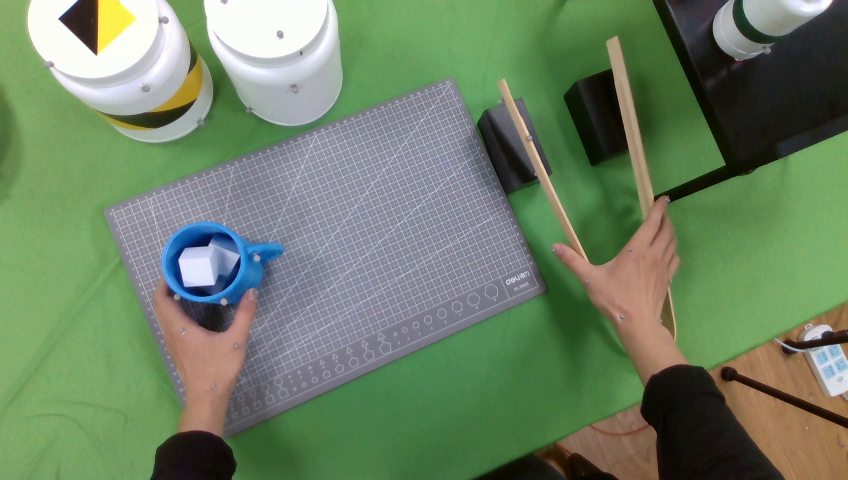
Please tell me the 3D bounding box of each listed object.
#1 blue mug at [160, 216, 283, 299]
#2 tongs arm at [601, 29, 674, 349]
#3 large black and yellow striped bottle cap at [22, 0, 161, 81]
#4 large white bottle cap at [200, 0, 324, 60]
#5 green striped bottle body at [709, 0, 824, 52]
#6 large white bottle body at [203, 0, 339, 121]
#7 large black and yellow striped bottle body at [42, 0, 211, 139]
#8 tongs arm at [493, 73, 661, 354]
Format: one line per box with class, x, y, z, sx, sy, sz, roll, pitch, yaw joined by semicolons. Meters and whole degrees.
blue mug;-0.214;0.018;0.667;0.117;0.106;0.082;-16;85;-8
tongs arm;0.257;-0.057;0.732;0.028;0.027;0.388;-16;98;-16
large black and yellow striped bottle cap;-0.306;-0.205;0.559;0.115;0.019;0.114;1;84;-8
large white bottle cap;-0.153;-0.229;0.577;0.115;0.018;0.114;1;83;-7
green striped bottle body;0.329;-0.230;0.568;0.063;0.119;0.063;1;83;-6
large white bottle body;-0.161;-0.218;0.660;0.131;0.185;0.130;1;83;-6
large black and yellow striped bottle body;-0.313;-0.194;0.641;0.131;0.184;0.130;1;83;-6
tongs arm;0.185;-0.026;0.719;0.051;0.026;0.386;-28;100;-11
